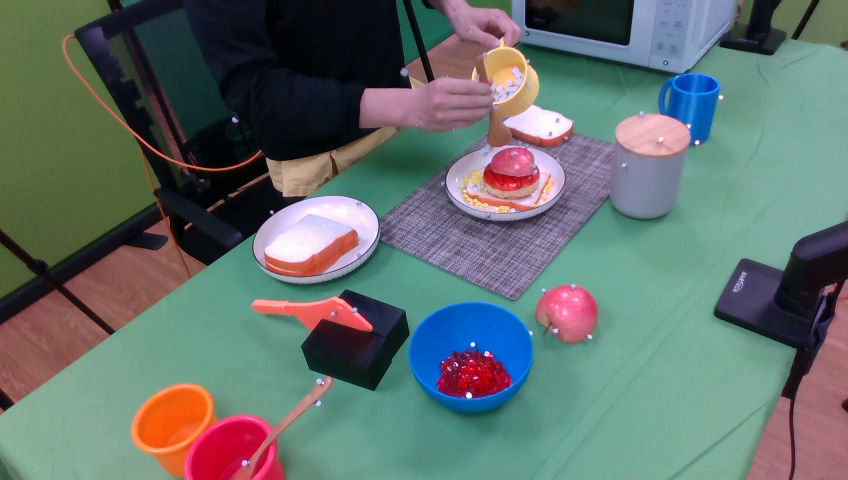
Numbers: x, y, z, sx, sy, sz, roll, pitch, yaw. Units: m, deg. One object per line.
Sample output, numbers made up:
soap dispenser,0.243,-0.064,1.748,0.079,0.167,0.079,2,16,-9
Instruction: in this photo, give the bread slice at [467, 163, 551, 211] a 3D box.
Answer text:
bread slice,0.143,-0.090,1.048,0.134,0.018,0.107,12,48,15

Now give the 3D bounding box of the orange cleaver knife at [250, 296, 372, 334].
orange cleaver knife,-0.158,0.103,0.828,0.210,0.078,0.012,-4,43,39

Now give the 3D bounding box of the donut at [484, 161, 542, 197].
donut,0.149,-0.109,1.016,0.099,0.048,0.098,-4,40,4

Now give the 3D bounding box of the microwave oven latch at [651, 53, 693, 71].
microwave oven latch,0.532,-0.386,1.301,0.078,0.029,0.030,27,52,34

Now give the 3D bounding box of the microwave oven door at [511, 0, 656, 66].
microwave oven door,0.350,-0.539,1.348,0.353,0.245,0.039,24,50,31

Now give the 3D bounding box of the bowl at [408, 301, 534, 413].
bowl,0.059,0.156,0.739,0.151,0.077,0.150,-4,40,4

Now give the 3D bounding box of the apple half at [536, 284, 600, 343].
apple half,0.196,0.090,0.815,0.075,0.053,0.080,-22,42,-20

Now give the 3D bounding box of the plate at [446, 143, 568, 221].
plate,0.142,-0.097,1.045,0.207,0.039,0.206,-4,40,4

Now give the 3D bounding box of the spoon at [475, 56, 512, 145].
spoon,0.098,-0.199,0.891,0.041,0.195,0.021,-18,55,8

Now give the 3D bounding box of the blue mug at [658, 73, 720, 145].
blue mug,0.483,-0.250,1.127,0.082,0.106,0.115,-26,44,-19

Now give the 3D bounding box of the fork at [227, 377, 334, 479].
fork,-0.163,0.216,0.647,0.207,0.019,0.028,-49,41,16

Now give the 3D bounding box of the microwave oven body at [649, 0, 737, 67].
microwave oven body,0.475,-0.602,1.411,0.438,0.261,0.327,23,50,32

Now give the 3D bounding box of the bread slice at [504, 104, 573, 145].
bread slice,0.231,-0.231,1.205,0.105,0.019,0.130,-37,47,-28

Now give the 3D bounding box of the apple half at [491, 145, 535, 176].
apple half,0.147,-0.138,0.994,0.081,0.033,0.081,1,38,0

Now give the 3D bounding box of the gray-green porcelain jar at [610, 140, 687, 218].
gray-green porcelain jar,0.354,-0.107,0.964,0.106,0.127,0.105,-4,41,4

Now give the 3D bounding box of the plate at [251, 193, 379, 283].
plate,-0.174,-0.001,0.985,0.209,0.038,0.208,-4,41,4

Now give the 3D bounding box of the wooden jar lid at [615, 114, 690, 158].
wooden jar lid,0.347,-0.155,0.923,0.108,0.021,0.108,-3,44,4

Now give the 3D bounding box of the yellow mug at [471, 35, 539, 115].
yellow mug,0.139,-0.286,1.032,0.099,0.064,0.130,-4,79,27
